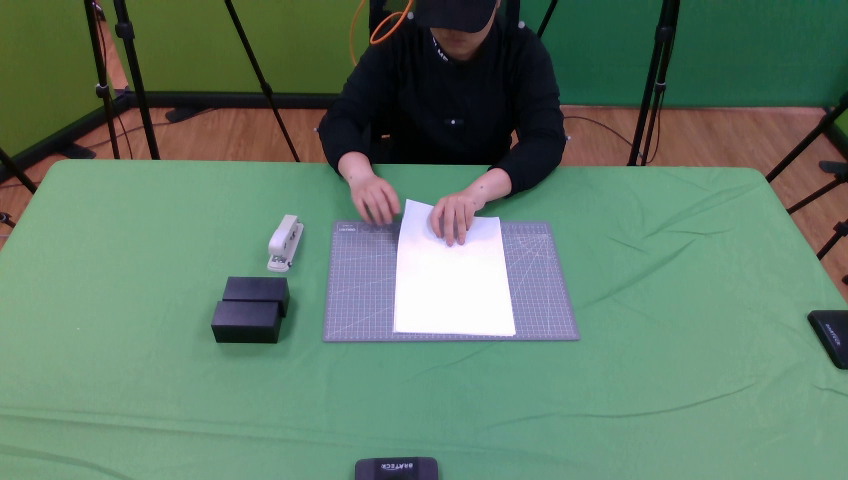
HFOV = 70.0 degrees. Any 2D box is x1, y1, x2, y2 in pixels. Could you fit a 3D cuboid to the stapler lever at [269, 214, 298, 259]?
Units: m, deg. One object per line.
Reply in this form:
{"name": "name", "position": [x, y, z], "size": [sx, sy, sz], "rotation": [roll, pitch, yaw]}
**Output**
{"name": "stapler lever", "position": [-0.268, -0.014, 1.154], "size": [0.027, 0.040, 0.117], "rotation": [8, 44, 0]}

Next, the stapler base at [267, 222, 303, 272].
{"name": "stapler base", "position": [-0.269, 0.005, 1.170], "size": [0.041, 0.024, 0.130], "rotation": [8, 44, 0]}
